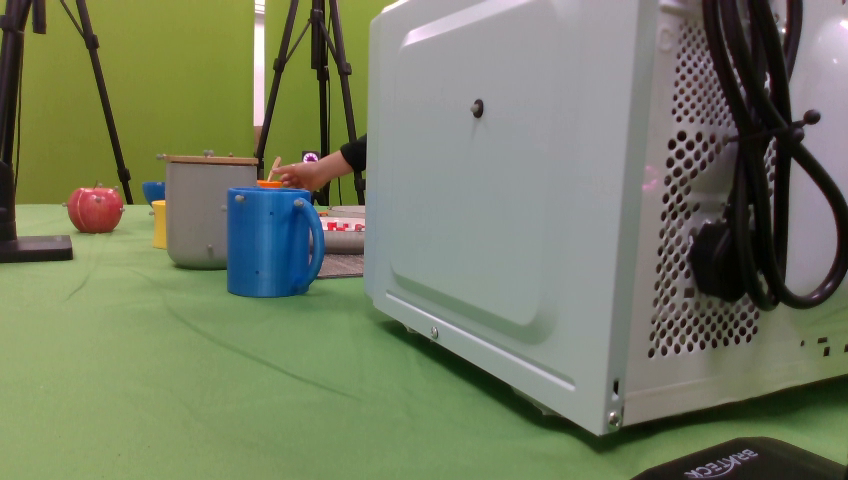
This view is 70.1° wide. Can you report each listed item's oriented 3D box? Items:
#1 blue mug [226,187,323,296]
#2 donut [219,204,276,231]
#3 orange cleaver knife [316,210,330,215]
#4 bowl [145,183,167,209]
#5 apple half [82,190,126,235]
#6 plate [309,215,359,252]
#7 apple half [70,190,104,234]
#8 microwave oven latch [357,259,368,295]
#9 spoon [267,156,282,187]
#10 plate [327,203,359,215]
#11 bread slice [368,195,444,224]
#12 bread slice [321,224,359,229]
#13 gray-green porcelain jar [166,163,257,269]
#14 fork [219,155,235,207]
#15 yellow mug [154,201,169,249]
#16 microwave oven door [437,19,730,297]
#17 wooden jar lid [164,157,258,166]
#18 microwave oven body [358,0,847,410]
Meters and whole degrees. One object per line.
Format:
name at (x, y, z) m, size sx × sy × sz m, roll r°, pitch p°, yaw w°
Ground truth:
blue mug at (-0.148, 0.000, 0.618) m, size 0.116 × 0.106 × 0.083 m, roll 7°, pitch 9°, yaw 33°
donut at (-0.316, -0.039, 1.083) m, size 0.099 × 0.048 × 0.099 m, roll 2°, pitch 7°, yaw 0°
orange cleaver knife at (-0.259, -0.064, 1.423) m, size 0.212 × 0.012 × 0.077 m, roll -4°, pitch 3°, yaw -30°
bowl at (-0.459, -0.068, 1.175) m, size 0.151 × 0.077 × 0.151 m, roll 3°, pitch 7°, yaw 0°
apple half at (-0.517, -0.046, 0.994) m, size 0.032 × 0.081 × 0.081 m, roll 0°, pitch 6°, yaw 26°
plate at (-0.130, -0.011, 0.945) m, size 0.208 × 0.039 × 0.207 m, roll 2°, pitch 8°, yaw 0°
apple half at (-0.552, -0.048, 1.010) m, size 0.053 × 0.074 × 0.081 m, roll -1°, pitch 9°, yaw 26°
microwave oven latch at (-0.019, 0.031, 0.529) m, size 0.079 × 0.029 × 0.030 m, roll -1°, pitch 7°, yaw -26°
spoon at (-0.391, -0.150, 1.548) m, size 0.041 × 0.193 × 0.022 m, roll 2°, pitch -37°, yaw 8°
plate at (-0.102, -0.053, 1.299) m, size 0.209 × 0.038 × 0.209 m, roll 2°, pitch 8°, yaw 0°
bread slice at (-0.041, -0.057, 1.141) m, size 0.107 × 0.018 × 0.133 m, roll -9°, pitch -7°, yaw -39°
bread slice at (-0.125, -0.009, 0.938) m, size 0.131 × 0.019 × 0.105 m, roll 7°, pitch 9°, yaw 31°
gray-green porcelain jar at (-0.263, -0.031, 0.754) m, size 0.106 × 0.126 × 0.106 m, roll 2°, pitch 7°, yaw 0°
fork at (-0.459, -0.134, 1.415) m, size 0.028 × 0.018 × 0.207 m, roll -1°, pitch -34°, yaw -24°
yellow mug at (-0.338, -0.022, 0.899) m, size 0.130 × 0.064 × 0.100 m, roll 8°, pitch 9°, yaw 34°
microwave oven door at (0.180, -0.076, 0.618) m, size 0.358 × 0.243 × 0.039 m, roll -2°, pitch 9°, yaw -28°
wooden jar lid at (-0.261, -0.093, 0.746) m, size 0.108 × 0.020 × 0.108 m, roll 1°, pitch 9°, yaw 0°
microwave oven body at (0.210, -0.051, 0.471) m, size 0.444 × 0.260 × 0.324 m, roll -1°, pitch 7°, yaw -28°
